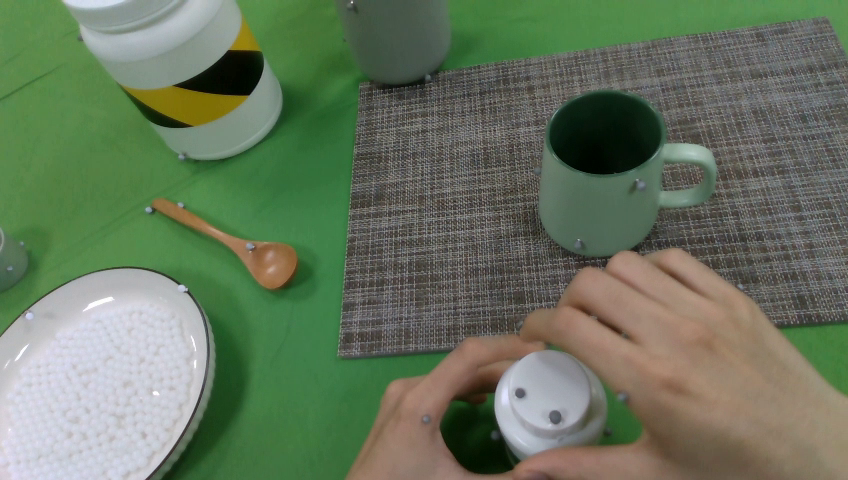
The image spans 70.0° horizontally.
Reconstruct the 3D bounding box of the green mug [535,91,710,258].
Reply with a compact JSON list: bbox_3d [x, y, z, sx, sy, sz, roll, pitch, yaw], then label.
[{"bbox_3d":[0.145,-0.046,0.451,0.125,0.106,0.092,2,59,13],"label":"green mug"}]

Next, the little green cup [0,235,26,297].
[{"bbox_3d":[-0.413,0.025,0.571,0.061,0.039,0.061,-5,59,8],"label":"little green cup"}]

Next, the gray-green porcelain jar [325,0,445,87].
[{"bbox_3d":[-0.037,-0.222,0.585,0.106,0.128,0.105,-6,55,8],"label":"gray-green porcelain jar"}]

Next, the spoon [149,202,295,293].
[{"bbox_3d":[-0.188,-0.002,0.548,0.192,0.022,0.041,24,87,23],"label":"spoon"}]

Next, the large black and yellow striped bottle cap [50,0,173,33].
[{"bbox_3d":[-0.246,-0.214,0.493,0.115,0.019,0.114,-5,57,8],"label":"large black and yellow striped bottle cap"}]

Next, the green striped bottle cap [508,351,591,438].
[{"bbox_3d":[0.067,0.082,0.326,0.044,0.020,0.044,-5,59,9],"label":"green striped bottle cap"}]

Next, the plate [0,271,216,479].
[{"bbox_3d":[-0.260,0.123,0.480,0.209,0.038,0.207,-5,58,9],"label":"plate"}]

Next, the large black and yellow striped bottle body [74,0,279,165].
[{"bbox_3d":[-0.229,-0.173,0.564,0.130,0.186,0.129,-5,59,9],"label":"large black and yellow striped bottle body"}]

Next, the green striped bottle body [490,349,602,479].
[{"bbox_3d":[0.075,0.108,0.369,0.063,0.120,0.062,-6,59,10],"label":"green striped bottle body"}]
